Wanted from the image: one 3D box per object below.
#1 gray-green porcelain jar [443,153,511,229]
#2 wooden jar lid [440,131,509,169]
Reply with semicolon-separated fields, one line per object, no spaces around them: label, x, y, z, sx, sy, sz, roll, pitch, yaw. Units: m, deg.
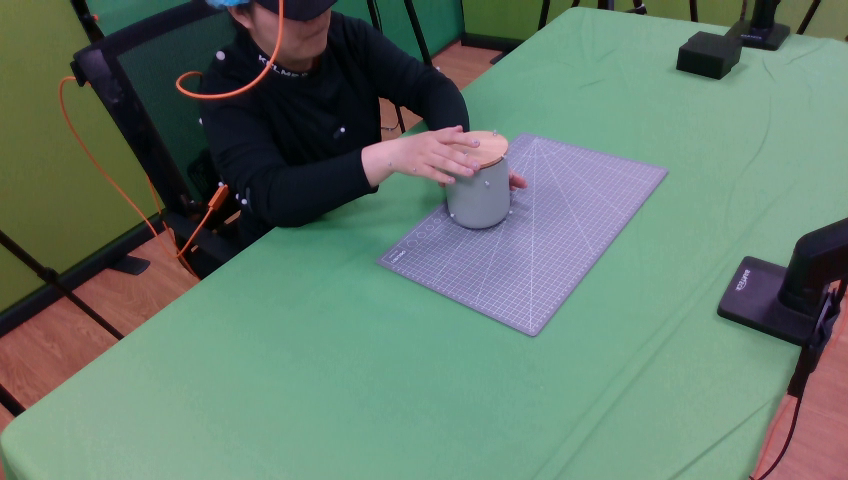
gray-green porcelain jar;0.088;-0.090;0.988;0.106;0.127;0.105;-5;40;5
wooden jar lid;0.079;-0.137;0.948;0.108;0.021;0.108;-5;38;5
